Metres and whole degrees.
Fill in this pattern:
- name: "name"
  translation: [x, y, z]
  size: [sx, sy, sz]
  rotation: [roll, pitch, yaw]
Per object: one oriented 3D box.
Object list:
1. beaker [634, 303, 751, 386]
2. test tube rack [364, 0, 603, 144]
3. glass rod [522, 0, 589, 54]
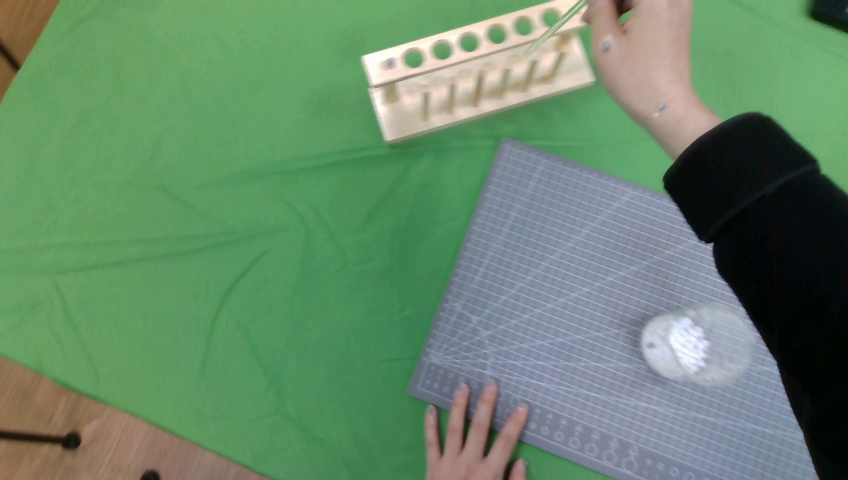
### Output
- name: "beaker"
  translation: [0.251, 0.101, 0.587]
  size: [0.084, 0.100, 0.073]
  rotation: [10, 79, 2]
- name: "test tube rack"
  translation: [0.065, -0.177, 0.643]
  size: [0.242, 0.085, 0.066]
  rotation: [-16, 80, -3]
- name: "glass rod"
  translation: [0.121, -0.183, 0.467]
  size: [0.008, 0.199, 0.008]
  rotation: [1, 85, -16]
